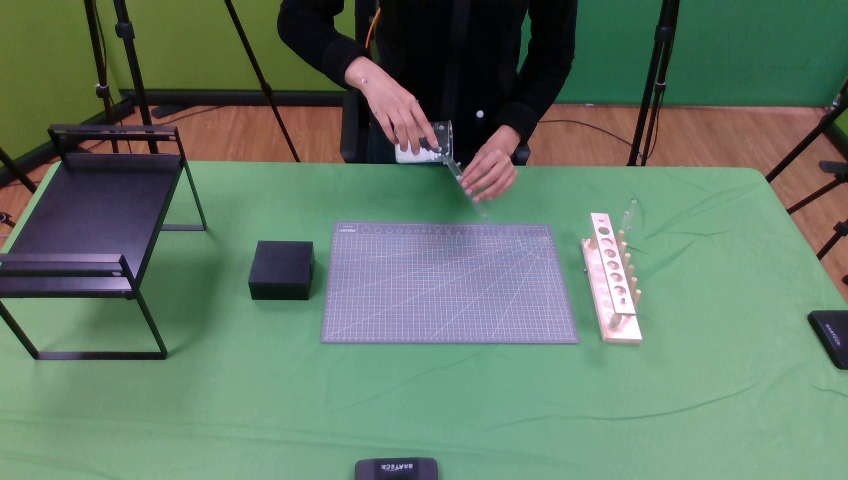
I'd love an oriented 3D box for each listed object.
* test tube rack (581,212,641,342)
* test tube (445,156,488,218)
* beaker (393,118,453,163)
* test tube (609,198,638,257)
[{"bbox_3d":[0.351,0.063,1.121,0.067,0.085,0.241,3,46,-1],"label":"test tube rack"},{"bbox_3d":[0.081,-0.096,1.131,0.017,0.151,0.017,-25,35,19],"label":"test tube"},{"bbox_3d":[-0.003,-0.171,1.061,0.100,0.084,0.073,-3,48,-3],"label":"beaker"},{"bbox_3d":[0.375,-0.021,1.141,0.017,0.151,0.017,2,45,-2],"label":"test tube"}]
